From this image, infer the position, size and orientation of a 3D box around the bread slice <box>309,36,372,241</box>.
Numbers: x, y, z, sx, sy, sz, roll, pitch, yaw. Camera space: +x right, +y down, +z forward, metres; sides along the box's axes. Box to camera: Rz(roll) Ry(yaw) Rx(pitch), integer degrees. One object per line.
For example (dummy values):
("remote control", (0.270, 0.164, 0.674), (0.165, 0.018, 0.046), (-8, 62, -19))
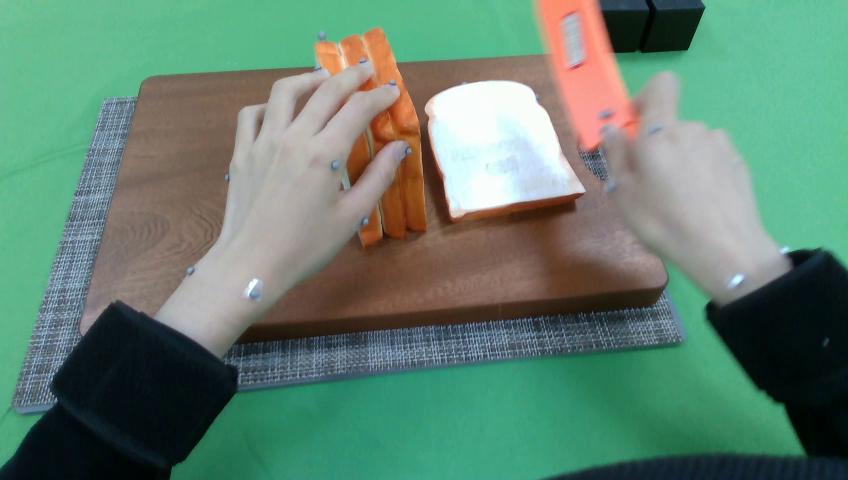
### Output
("bread slice", (-0.061, -0.080, 0.434), (0.018, 0.108, 0.132), (-12, 47, -10))

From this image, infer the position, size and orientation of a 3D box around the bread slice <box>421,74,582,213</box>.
("bread slice", (0.054, -0.082, 0.482), (0.105, 0.019, 0.130), (-11, 58, -7))

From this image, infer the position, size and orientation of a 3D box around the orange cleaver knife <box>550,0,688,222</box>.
("orange cleaver knife", (0.126, -0.105, 0.415), (0.012, 0.077, 0.210), (-10, 74, -15))
